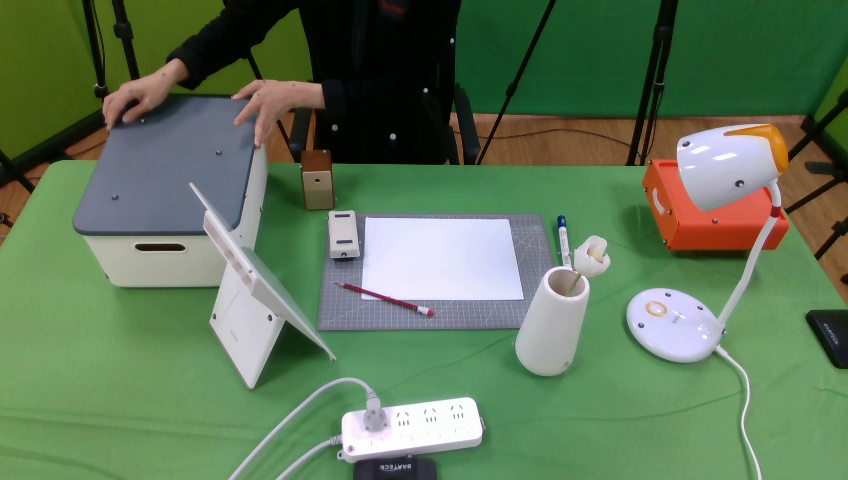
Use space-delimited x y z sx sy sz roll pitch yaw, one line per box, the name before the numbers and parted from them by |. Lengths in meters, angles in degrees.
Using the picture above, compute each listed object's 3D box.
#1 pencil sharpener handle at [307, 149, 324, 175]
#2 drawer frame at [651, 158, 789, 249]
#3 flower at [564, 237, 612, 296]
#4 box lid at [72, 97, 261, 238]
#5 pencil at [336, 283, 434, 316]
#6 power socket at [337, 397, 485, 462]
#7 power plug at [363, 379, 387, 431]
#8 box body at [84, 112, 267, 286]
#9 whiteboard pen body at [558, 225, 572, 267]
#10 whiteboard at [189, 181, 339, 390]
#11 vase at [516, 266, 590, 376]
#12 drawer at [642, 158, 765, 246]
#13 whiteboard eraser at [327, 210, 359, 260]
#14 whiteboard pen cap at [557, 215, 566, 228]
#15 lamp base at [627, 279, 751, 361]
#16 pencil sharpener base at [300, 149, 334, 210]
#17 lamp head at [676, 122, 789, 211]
pencil sharpener handle | -0.229 -0.170 1.267 0.036 0.068 0.030 2 45 -14
drawer frame | 0.571 -0.075 1.214 0.214 0.083 0.200 0 45 -1
flower | 0.206 0.088 0.893 0.038 0.363 0.044 -16 67 -9
box lid | -0.445 -0.142 1.087 0.263 0.015 0.369 0 48 -6
pencil | -0.074 0.105 1.097 0.194 0.012 0.012 16 47 13
power socket | -0.018 0.285 0.915 0.227 0.033 0.071 -5 46 -8
power plug | -0.072 0.252 0.910 0.035 0.053 0.072 3 45 -1
box body | -0.446 -0.088 1.150 0.254 0.161 0.361 -1 46 -5
whiteboard pen body | 0.280 0.010 1.207 0.017 0.017 0.140 3 50 -1
whiteboard | -0.292 0.096 0.929 0.144 0.307 0.216 -37 57 -10
vase | 0.208 0.132 0.964 0.098 0.201 0.097 3 46 -3
drawer | 0.565 -0.076 1.211 0.212 0.073 0.193 2 45 -2
whiteboard eraser | -0.158 -0.009 1.177 0.055 0.042 0.112 -6 47 -7
whiteboard pen cap | 0.284 -0.034 1.246 0.018 0.018 0.033 4 52 -1
lamp base | 0.459 0.100 1.027 0.178 0.181 0.160 27 51 17
pencil sharpener base | -0.219 -0.125 1.242 0.061 0.107 0.076 -4 46 -8
lamp head | 0.423 -0.104 0.819 0.122 0.113 0.112 -13 33 40
